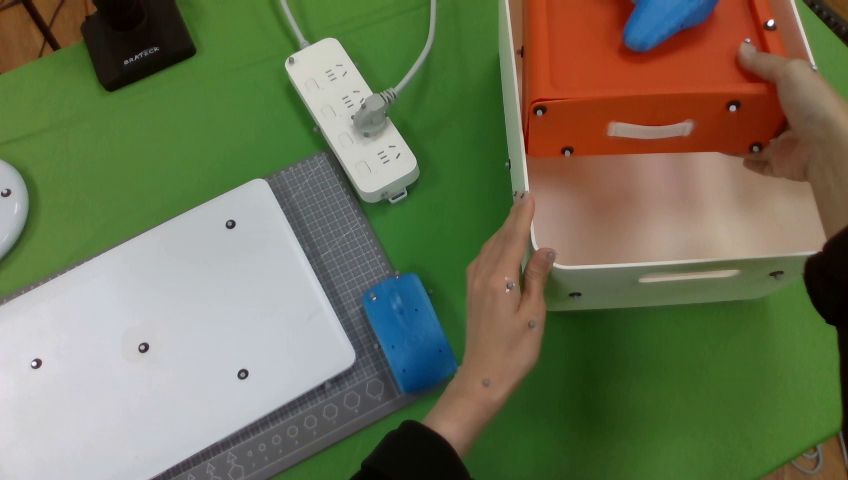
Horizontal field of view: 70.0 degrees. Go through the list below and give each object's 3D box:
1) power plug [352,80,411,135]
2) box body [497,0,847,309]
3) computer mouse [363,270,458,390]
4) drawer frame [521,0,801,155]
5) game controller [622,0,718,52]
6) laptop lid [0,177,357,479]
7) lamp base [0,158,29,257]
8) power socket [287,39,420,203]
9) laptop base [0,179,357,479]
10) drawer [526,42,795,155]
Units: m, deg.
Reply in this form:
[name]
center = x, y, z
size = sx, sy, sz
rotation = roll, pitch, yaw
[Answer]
[power plug]
center = -0.042, -0.136, 0.658
size = 0.072, 0.053, 0.035
rotation = -18, 67, -5
[box body]
center = 0.208, -0.123, 0.590
size = 0.254, 0.161, 0.361
rotation = -4, 68, 2
[computer mouse]
center = -0.015, 0.084, 0.588
size = 0.063, 0.041, 0.116
rotation = -24, 65, -4
[drawer frame]
center = 0.186, -0.181, 0.531
size = 0.201, 0.083, 0.211
rotation = 0, 60, 6
[game controller]
center = 0.178, -0.232, 0.502
size = 0.097, 0.052, 0.153
rotation = -20, 62, -10
[laptop lid]
center = -0.270, 0.105, 0.597
size = 0.357, 0.013, 0.240
rotation = -27, 72, -7
[lamp base]
center = -0.539, -0.060, 0.607
size = 0.178, 0.181, 0.160
rotation = 20, 70, 14
[power socket]
center = -0.083, -0.139, 0.687
size = 0.072, 0.033, 0.225
rotation = -29, 69, -9
[laptop base]
center = -0.270, 0.107, 0.609
size = 0.354, 0.023, 0.234
rotation = -29, 73, -8
[drawer]
center = 0.186, -0.178, 0.530
size = 0.194, 0.074, 0.210
rotation = -1, 61, 7
